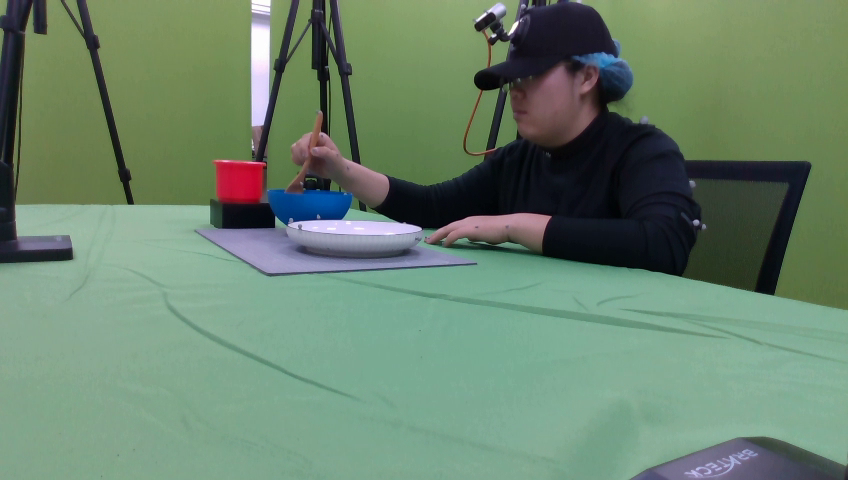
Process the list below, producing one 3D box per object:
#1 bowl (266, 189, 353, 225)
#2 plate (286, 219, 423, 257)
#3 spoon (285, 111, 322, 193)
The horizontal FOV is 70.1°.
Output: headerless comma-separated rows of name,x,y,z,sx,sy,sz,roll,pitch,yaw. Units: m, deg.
bowl,-0.204,-0.049,1.079,0.151,0.077,0.151,3,7,0
plate,-0.105,-0.004,0.922,0.208,0.039,0.207,3,8,0
spoon,-0.216,-0.142,1.106,0.042,0.193,0.021,18,4,-43
